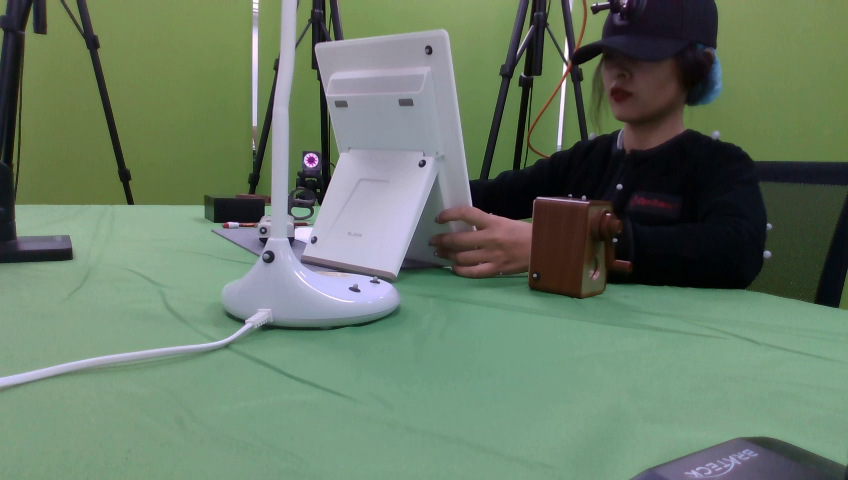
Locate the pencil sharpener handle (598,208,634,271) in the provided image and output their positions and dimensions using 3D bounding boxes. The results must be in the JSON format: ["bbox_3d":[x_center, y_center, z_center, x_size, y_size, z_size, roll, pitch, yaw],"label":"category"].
[{"bbox_3d":[0.208,0.000,0.644,0.030,0.068,0.036,10,23,42],"label":"pencil sharpener handle"}]

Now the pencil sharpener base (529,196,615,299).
[{"bbox_3d":[0.168,0.007,0.678,0.076,0.107,0.062,10,10,42],"label":"pencil sharpener base"}]

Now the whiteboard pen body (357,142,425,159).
[{"bbox_3d":[-0.047,-0.131,0.879,0.017,0.017,0.141,8,7,39],"label":"whiteboard pen body"}]

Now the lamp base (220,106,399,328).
[{"bbox_3d":[-0.101,-0.023,0.531,0.160,0.180,0.179,4,10,10],"label":"lamp base"}]

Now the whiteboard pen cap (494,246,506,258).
[{"bbox_3d":[0.117,0.018,0.932,0.018,0.018,0.033,3,5,5],"label":"whiteboard pen cap"}]

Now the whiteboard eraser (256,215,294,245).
[{"bbox_3d":[-0.232,-0.016,0.951,0.056,0.042,0.112,2,7,-12],"label":"whiteboard eraser"}]

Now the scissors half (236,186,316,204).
[{"bbox_3d":[-0.320,-0.097,1.316,0.176,0.040,0.013,-3,11,-29],"label":"scissors half"}]

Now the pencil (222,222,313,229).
[{"bbox_3d":[-0.302,-0.030,1.188,0.195,0.012,0.012,-2,9,-42],"label":"pencil"}]

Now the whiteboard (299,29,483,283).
[{"bbox_3d":[-0.074,-0.082,0.741,0.216,0.305,0.144,9,30,38],"label":"whiteboard"}]

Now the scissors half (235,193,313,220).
[{"bbox_3d":[-0.324,-0.077,1.319,0.176,0.040,0.012,17,6,-31],"label":"scissors half"}]
